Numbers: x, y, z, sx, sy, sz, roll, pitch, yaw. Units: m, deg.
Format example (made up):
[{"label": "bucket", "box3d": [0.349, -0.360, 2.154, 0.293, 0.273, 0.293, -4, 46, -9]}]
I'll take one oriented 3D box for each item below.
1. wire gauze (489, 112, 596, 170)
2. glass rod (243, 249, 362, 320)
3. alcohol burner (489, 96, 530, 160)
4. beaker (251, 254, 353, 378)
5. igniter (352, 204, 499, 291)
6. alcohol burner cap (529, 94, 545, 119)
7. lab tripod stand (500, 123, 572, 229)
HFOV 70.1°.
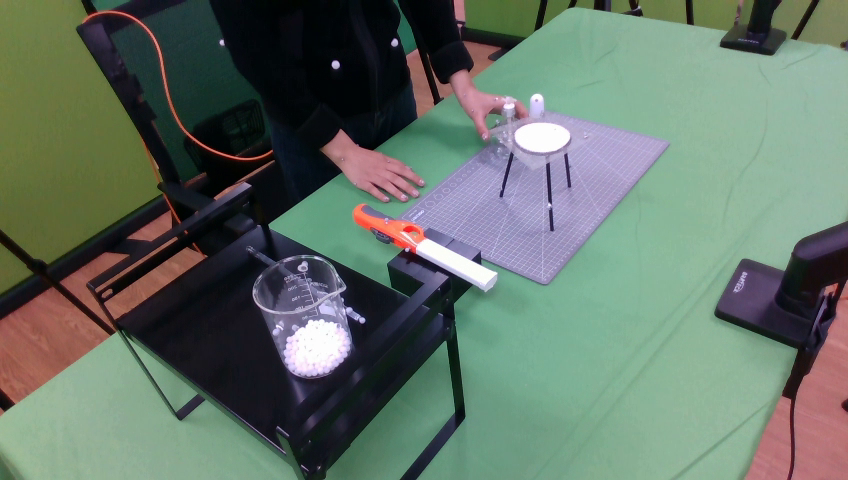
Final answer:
[{"label": "wire gauze", "box3d": [0.183, -0.161, 0.942, 0.122, 0.011, 0.124, -24, 44, -18]}, {"label": "glass rod", "box3d": [-0.141, 0.046, 0.674, 0.198, 0.008, 0.008, 24, 49, 32]}, {"label": "alcohol burner", "box3d": [0.158, -0.210, 1.125, 0.078, 0.119, 0.077, -6, 40, 6]}, {"label": "beaker", "box3d": [-0.106, 0.074, 0.565, 0.084, 0.101, 0.073, -1, 41, 8]}, {"label": "igniter", "box3d": [-0.009, 0.005, 0.895, 0.274, 0.025, 0.057, 27, 47, 32]}, {"label": "alcohol burner cap", "box3d": [0.233, -0.277, 1.247, 0.034, 0.048, 0.033, -5, 41, 5]}, {"label": "lab tripod stand", "box3d": [0.194, -0.110, 0.985, 0.148, 0.132, 0.147, -3, 41, 3]}]
